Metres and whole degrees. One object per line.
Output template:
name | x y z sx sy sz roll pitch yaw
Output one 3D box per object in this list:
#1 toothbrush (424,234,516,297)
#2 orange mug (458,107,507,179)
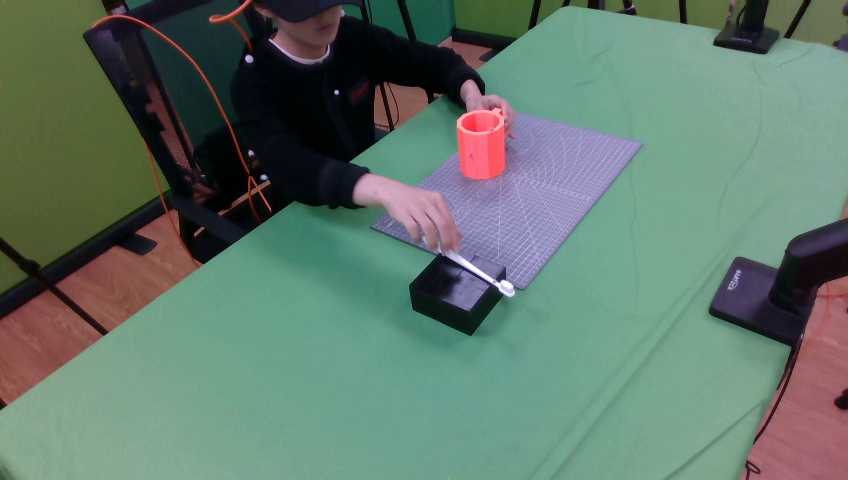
toothbrush | 0.061 0.031 0.859 0.014 0.017 0.180 -36 48 -25
orange mug | 0.117 -0.187 1.112 0.083 0.101 0.126 19 51 28
